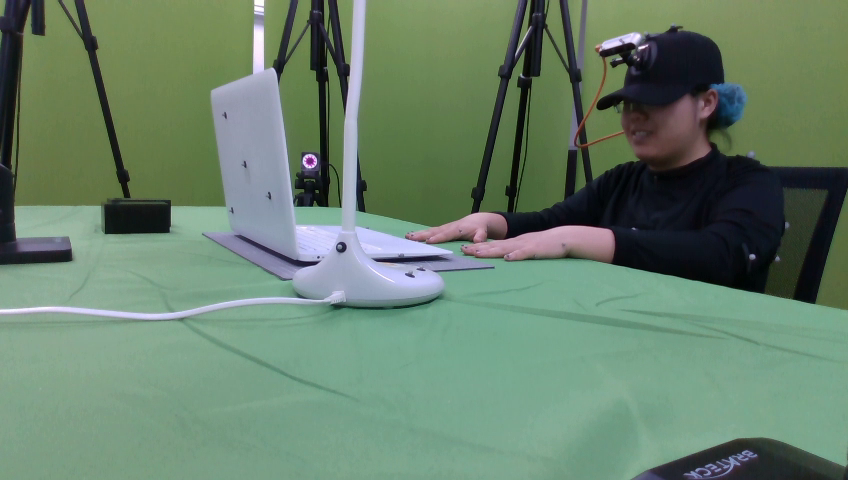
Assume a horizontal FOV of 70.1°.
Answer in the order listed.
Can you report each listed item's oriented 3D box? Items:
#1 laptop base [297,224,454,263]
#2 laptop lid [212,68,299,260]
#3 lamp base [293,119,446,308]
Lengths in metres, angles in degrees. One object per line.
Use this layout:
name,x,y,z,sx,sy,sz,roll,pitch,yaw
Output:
laptop base,-0.143,0.004,0.957,0.237,0.023,0.352,2,7,-32
laptop lid,-0.253,-0.110,0.872,0.013,0.241,0.355,-11,14,-30
lamp base,-0.056,-0.030,0.616,0.160,0.180,0.179,4,10,8
